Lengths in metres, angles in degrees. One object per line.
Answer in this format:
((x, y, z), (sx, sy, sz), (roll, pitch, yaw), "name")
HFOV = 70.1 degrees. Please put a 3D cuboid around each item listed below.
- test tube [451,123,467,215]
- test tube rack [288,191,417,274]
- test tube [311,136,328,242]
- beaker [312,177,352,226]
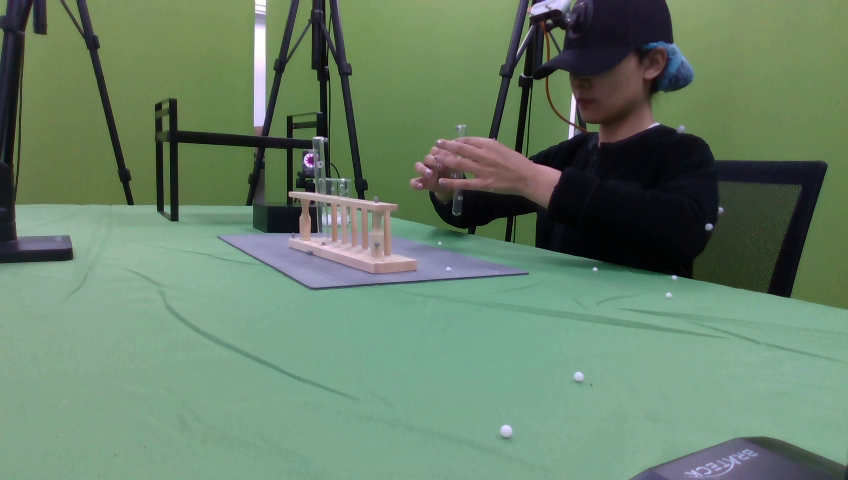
((0.057, -0.115, 0.987), (0.017, 0.150, 0.017), (4, 6, 0), "test tube")
((-0.106, -0.017, 0.835), (0.067, 0.085, 0.241), (-3, 9, -37), "test tube rack")
((-0.146, -0.071, 0.850), (0.017, 0.150, 0.017), (-1, 11, 1), "test tube")
((-0.194, -0.081, 1.266), (0.084, 0.100, 0.073), (-3, 9, -29), "beaker")
